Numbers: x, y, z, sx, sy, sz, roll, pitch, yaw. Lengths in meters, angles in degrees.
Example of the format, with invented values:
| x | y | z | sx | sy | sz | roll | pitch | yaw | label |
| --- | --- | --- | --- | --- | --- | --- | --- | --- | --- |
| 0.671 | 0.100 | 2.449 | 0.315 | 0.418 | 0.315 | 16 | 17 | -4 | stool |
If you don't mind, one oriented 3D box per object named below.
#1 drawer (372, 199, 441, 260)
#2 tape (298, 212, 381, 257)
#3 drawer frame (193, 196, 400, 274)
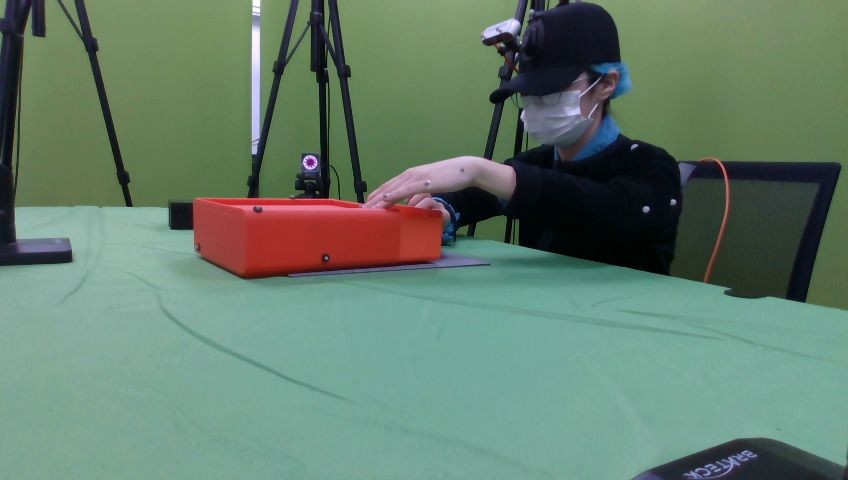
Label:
| x | y | z | sx | sy | sz | roll | pitch | yaw | label |
| --- | --- | --- | --- | --- | --- | --- | --- | --- | --- |
| -0.114 | -0.016 | 0.857 | 0.213 | 0.073 | 0.193 | -4 | 10 | -35 | drawer |
| -0.118 | -0.010 | 0.853 | 0.117 | 0.052 | 0.117 | 2 | 7 | 0 | tape |
| -0.173 | -0.015 | 0.815 | 0.215 | 0.082 | 0.200 | -4 | 10 | -37 | drawer frame |
